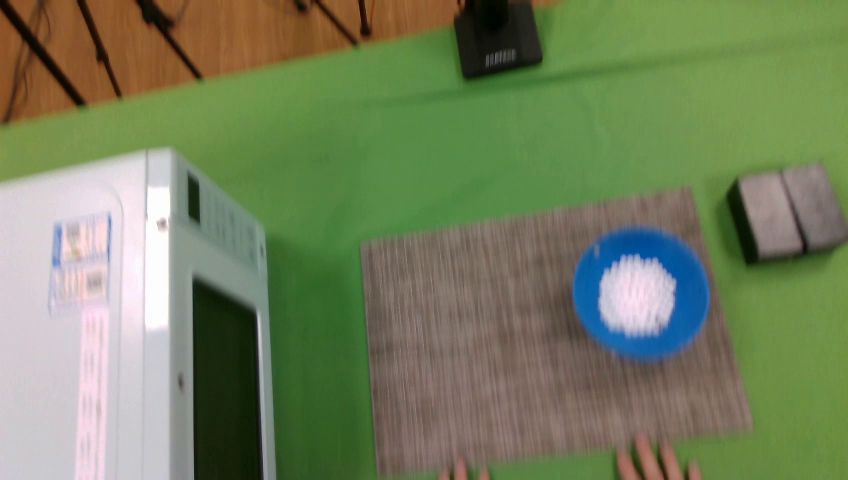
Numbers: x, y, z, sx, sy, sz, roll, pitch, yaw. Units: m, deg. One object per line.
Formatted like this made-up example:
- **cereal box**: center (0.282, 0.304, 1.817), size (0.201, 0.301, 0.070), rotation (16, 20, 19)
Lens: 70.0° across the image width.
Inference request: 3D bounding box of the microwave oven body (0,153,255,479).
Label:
- **microwave oven body**: center (-0.380, 0.174, 0.708), size (0.326, 0.262, 0.438), rotation (-11, 71, 5)

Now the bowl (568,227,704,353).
- **bowl**: center (0.249, 0.067, 0.733), size (0.151, 0.077, 0.150), rotation (-3, 71, 9)

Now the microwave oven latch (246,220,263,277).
- **microwave oven latch**: center (-0.243, 0.014, 0.842), size (0.030, 0.030, 0.078), rotation (-11, 71, 6)

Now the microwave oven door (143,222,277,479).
- **microwave oven door**: center (-0.232, 0.183, 0.674), size (0.039, 0.245, 0.353), rotation (-11, 70, 6)
